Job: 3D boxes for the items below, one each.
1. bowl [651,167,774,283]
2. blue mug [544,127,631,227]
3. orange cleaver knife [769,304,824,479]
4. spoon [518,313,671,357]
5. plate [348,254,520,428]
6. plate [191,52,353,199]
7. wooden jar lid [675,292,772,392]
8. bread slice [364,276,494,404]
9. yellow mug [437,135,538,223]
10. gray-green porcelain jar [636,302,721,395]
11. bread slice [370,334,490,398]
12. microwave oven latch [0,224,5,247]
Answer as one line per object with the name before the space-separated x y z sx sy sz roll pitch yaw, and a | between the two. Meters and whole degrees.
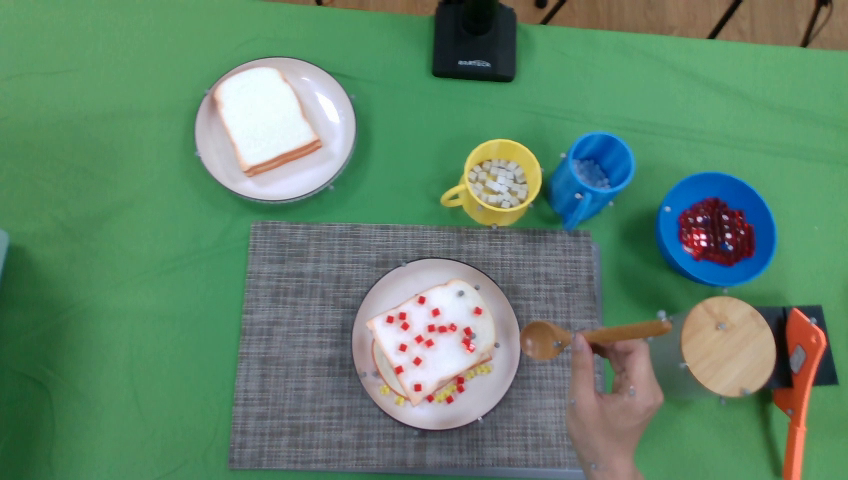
bowl | 0.358 -0.011 0.786 0.151 0.077 0.150 1 75 -4
blue mug | 0.201 -0.071 0.778 0.082 0.106 0.116 22 74 3
orange cleaver knife | 0.445 0.185 0.736 0.012 0.077 0.212 1 101 -3
spoon | 0.145 0.084 0.548 0.022 0.193 0.041 -12 84 -25
plate | 0.012 0.121 0.741 0.209 0.038 0.208 1 74 -4
plate | -0.198 -0.149 0.803 0.208 0.039 0.206 1 74 -4
wooden jar lid | 0.324 0.111 0.660 0.108 0.021 0.108 1 77 -6
bread slice | 0.012 0.102 0.684 0.134 0.018 0.106 -32 84 -18
yellow mug | 0.079 -0.073 0.789 0.131 0.064 0.099 -18 76 -8
gray-green porcelain jar | 0.320 0.130 0.720 0.106 0.127 0.105 1 74 -4
bread slice | 0.002 0.130 0.742 0.131 0.019 0.104 -29 77 -15
microwave oven latch | -0.521 0.016 0.713 0.030 0.029 0.078 7 75 -3
